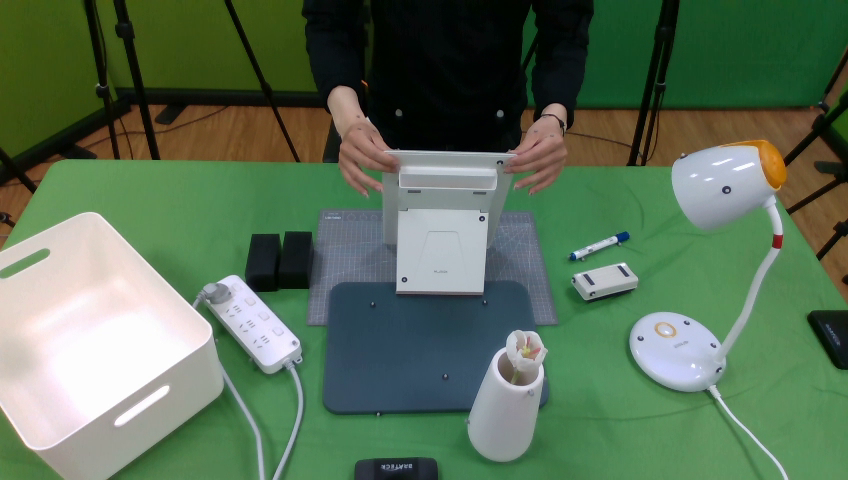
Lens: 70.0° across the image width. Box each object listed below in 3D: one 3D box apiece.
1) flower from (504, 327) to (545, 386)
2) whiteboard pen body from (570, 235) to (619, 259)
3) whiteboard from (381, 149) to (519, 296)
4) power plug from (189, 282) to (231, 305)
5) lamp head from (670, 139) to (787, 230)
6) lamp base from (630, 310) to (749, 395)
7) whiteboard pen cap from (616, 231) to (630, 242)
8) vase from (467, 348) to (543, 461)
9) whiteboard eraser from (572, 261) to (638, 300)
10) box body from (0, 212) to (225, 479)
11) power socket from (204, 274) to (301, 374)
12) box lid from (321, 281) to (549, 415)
[{"bbox_3d":[0.114,0.189,0.790,0.044,0.363,0.038,34,69,19],"label":"flower"},{"bbox_3d":[0.351,0.010,1.215,0.141,0.017,0.017,-20,51,-23],"label":"whiteboard pen body"},{"bbox_3d":[0.033,-0.009,1.042,0.217,0.307,0.143,2,61,-3],"label":"whiteboard"},{"bbox_3d":[-0.368,0.097,1.038,0.072,0.053,0.035,-27,55,-21],"label":"power plug"},{"bbox_3d":[0.415,-0.079,0.812,0.113,0.123,0.112,12,70,-37],"label":"lamp head"},{"bbox_3d":[0.447,0.143,0.984,0.161,0.181,0.178,-24,55,-24],"label":"lamp base"},{"bbox_3d":[0.403,-0.007,1.235,0.033,0.018,0.018,-19,50,-24],"label":"whiteboard pen cap"},{"bbox_3d":[0.116,0.235,0.860,0.098,0.201,0.097,1,47,-1],"label":"vase"},{"bbox_3d":[0.338,0.079,1.133,0.113,0.042,0.055,-12,46,-15],"label":"whiteboard eraser"},{"bbox_3d":[-0.506,0.155,0.916,0.362,0.161,0.254,35,54,26],"label":"box body"},{"bbox_3d":[-0.296,0.140,1.035,0.072,0.033,0.225,-33,57,-30],"label":"power socket"},{"bbox_3d":[0.013,0.174,1.040,0.372,0.015,0.261,0,47,-4],"label":"box lid"}]
